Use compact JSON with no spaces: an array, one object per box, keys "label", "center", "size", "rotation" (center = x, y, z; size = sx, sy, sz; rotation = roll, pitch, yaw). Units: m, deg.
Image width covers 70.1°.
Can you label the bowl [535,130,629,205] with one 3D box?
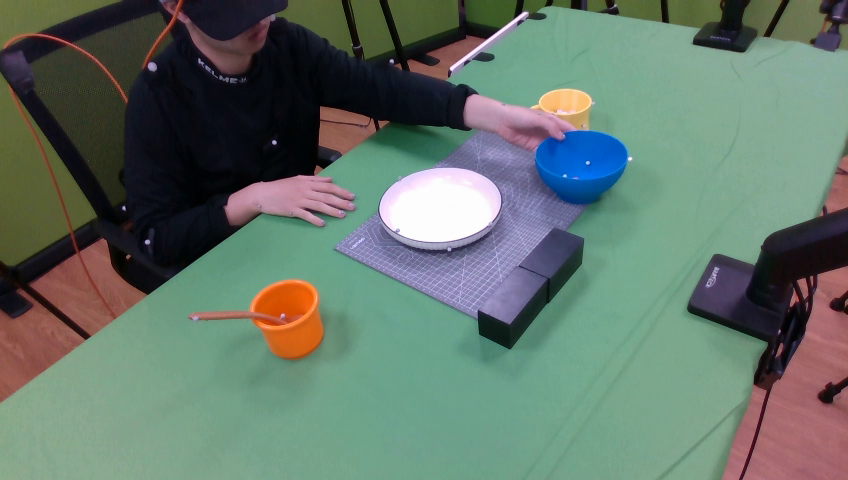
[{"label":"bowl","center":[0.261,-0.113,1.015],"size":[0.151,0.077,0.150],"rotation":[-4,40,4]}]

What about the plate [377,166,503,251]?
[{"label":"plate","center":[0.027,-0.050,1.007],"size":[0.209,0.038,0.208],"rotation":[-4,41,4]}]

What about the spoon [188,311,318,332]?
[{"label":"spoon","center":[-0.216,0.102,0.784],"size":[0.041,0.195,0.021],"rotation":[26,95,39]}]

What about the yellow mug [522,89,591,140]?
[{"label":"yellow mug","center":[0.257,-0.239,1.178],"size":[0.131,0.064,0.099],"rotation":[-6,41,3]}]
